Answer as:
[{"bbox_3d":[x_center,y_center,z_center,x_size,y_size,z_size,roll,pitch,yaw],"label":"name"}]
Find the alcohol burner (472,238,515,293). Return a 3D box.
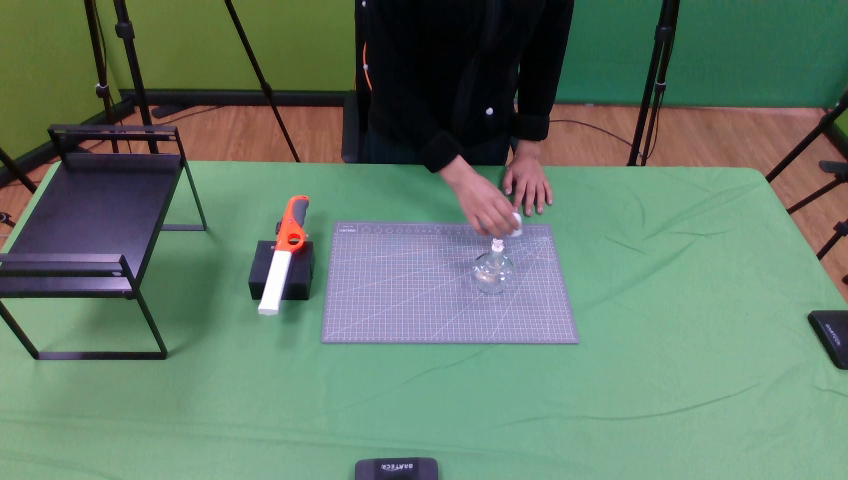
[{"bbox_3d":[0.128,0.041,1.102,0.078,0.120,0.077,1,47,-1],"label":"alcohol burner"}]

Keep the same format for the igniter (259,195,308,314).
[{"bbox_3d":[-0.252,0.016,1.094,0.057,0.025,0.275,6,48,-3],"label":"igniter"}]

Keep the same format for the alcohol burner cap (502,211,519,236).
[{"bbox_3d":[0.170,-0.035,1.179,0.034,0.048,0.033,-2,41,2],"label":"alcohol burner cap"}]
